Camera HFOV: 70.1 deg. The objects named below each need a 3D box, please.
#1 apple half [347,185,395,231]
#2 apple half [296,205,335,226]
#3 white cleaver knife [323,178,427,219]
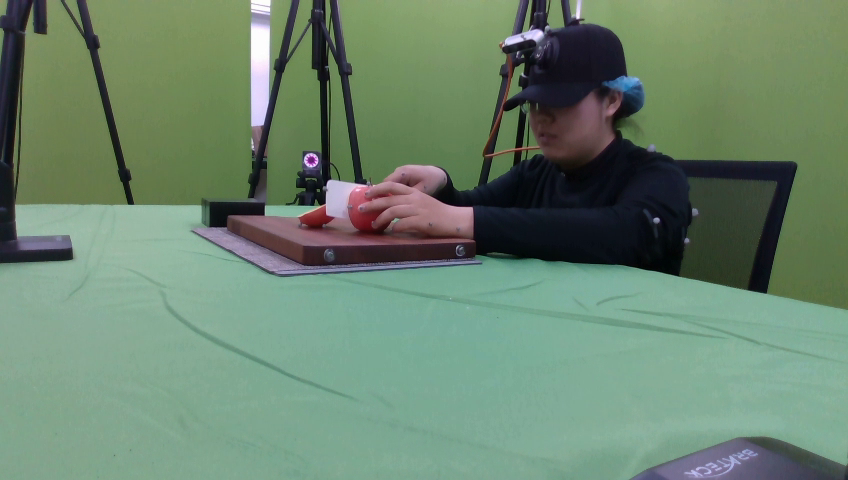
[{"bbox_3d":[-0.075,-0.049,0.948,0.053,0.074,0.081,12,8,34],"label":"apple half"},{"bbox_3d":[-0.163,-0.041,0.978,0.081,0.033,0.081,-21,7,3],"label":"apple half"},{"bbox_3d":[-0.077,-0.064,1.011,0.021,0.066,0.288,3,3,32],"label":"white cleaver knife"}]
